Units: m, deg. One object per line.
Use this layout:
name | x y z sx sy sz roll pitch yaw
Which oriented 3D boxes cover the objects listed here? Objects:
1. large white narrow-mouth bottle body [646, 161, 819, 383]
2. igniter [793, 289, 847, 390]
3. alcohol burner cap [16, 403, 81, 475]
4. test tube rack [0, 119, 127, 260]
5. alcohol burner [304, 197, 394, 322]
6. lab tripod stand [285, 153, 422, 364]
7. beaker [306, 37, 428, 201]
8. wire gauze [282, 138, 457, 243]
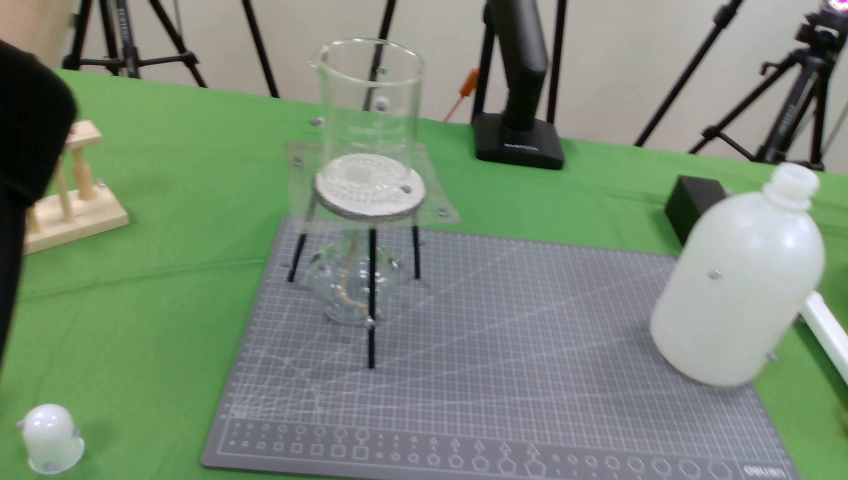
large white narrow-mouth bottle body | 0.266 0.024 0.511 0.102 0.196 0.101 6 38 -4
igniter | 0.393 0.139 0.534 0.057 0.025 0.274 16 36 -10
alcohol burner cap | -0.246 0.127 0.394 0.034 0.048 0.033 8 37 -6
test tube rack | -0.401 -0.029 0.523 0.243 0.086 0.066 -23 48 -35
alcohol burner | -0.062 0.013 0.519 0.078 0.120 0.077 8 36 -5
lab tripod stand | -0.052 0.007 0.512 0.148 0.132 0.147 8 38 -6
beaker | -0.045 -0.086 0.445 0.084 0.101 0.073 2 40 -10
wire gauze | -0.047 -0.045 0.473 0.122 0.011 0.123 -4 43 -14
